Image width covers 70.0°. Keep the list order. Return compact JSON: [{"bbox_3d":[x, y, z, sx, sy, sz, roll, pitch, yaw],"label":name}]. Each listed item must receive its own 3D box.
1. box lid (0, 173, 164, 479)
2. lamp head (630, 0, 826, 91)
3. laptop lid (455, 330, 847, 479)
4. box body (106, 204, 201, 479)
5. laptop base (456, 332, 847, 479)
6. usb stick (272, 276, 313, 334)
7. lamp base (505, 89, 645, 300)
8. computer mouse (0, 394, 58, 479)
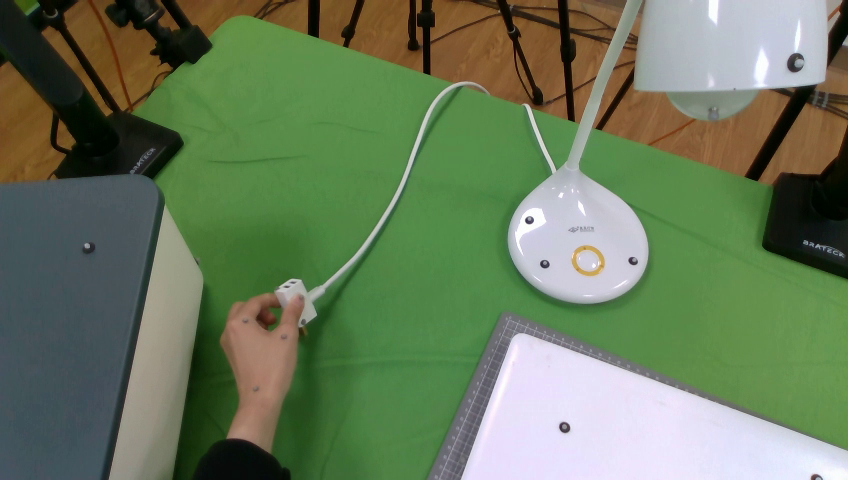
[{"bbox_3d":[-0.362,0.098,0.474,0.263,0.015,0.368,-3,59,-1],"label":"box lid"},{"bbox_3d":[0.185,-0.155,0.375,0.112,0.112,0.123,-6,102,-3],"label":"lamp head"},{"bbox_3d":[0.208,0.239,0.540,0.355,0.013,0.240,20,63,13],"label":"laptop lid"},{"bbox_3d":[-0.361,0.139,0.535,0.254,0.162,0.360,-3,58,-2],"label":"box body"},{"bbox_3d":[0.209,0.243,0.551,0.353,0.023,0.234,19,63,12],"label":"laptop base"},{"bbox_3d":[-0.136,0.070,0.637,0.021,0.059,0.027,7,30,42],"label":"usb stick"},{"bbox_3d":[0.169,-0.054,0.641,0.161,0.182,0.177,-13,56,-7],"label":"lamp base"},{"bbox_3d":[-0.391,0.185,0.566,0.063,0.041,0.116,-29,22,-6],"label":"computer mouse"}]
